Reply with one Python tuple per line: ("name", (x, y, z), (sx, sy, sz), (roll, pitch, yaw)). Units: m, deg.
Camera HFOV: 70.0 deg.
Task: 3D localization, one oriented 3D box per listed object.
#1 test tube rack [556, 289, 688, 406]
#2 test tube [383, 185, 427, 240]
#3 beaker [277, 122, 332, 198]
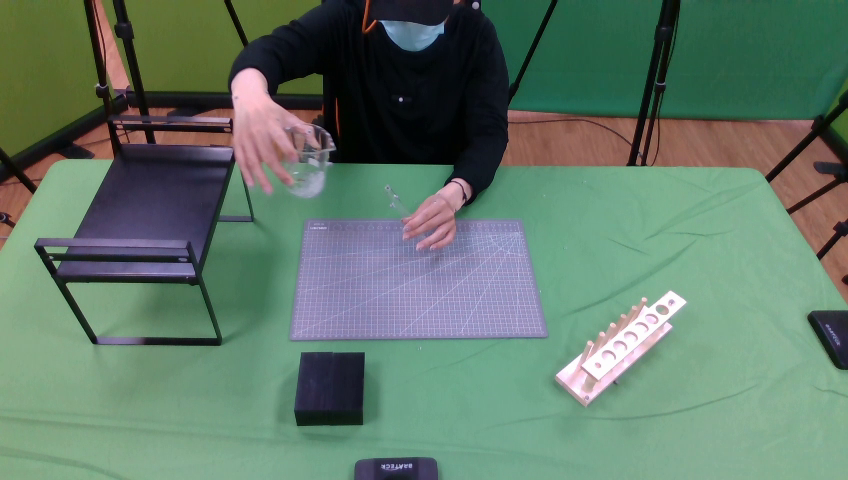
("test tube rack", (0.332, 0.166, 1.014), (0.242, 0.085, 0.066), (-30, 55, -28))
("test tube", (-0.033, -0.047, 1.100), (0.017, 0.151, 0.017), (-18, 46, 20))
("beaker", (-0.189, -0.123, 0.953), (0.084, 0.100, 0.073), (14, 45, -3))
